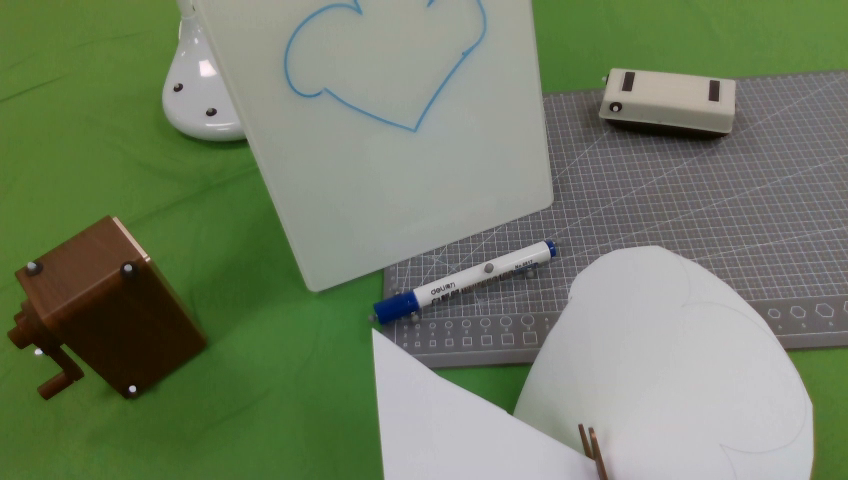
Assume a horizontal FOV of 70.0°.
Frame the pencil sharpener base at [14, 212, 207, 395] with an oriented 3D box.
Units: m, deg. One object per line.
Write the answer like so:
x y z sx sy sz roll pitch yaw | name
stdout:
-0.212 0.047 0.417 0.076 0.108 0.061 -38 57 -22 | pencil sharpener base

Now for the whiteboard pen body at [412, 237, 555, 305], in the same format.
0.034 0.027 0.456 0.141 0.017 0.017 -20 51 -9 | whiteboard pen body

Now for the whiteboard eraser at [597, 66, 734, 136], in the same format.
0.218 -0.125 0.549 0.112 0.042 0.055 11 54 15 | whiteboard eraser

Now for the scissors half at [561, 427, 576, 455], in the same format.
0.091 0.168 0.260 0.013 0.040 0.174 -21 71 13 | scissors half

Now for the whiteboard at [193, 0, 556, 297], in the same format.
-0.041 -0.149 0.468 0.217 0.308 0.142 -20 32 -9 | whiteboard

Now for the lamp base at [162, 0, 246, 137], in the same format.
-0.211 -0.219 0.586 0.177 0.182 0.160 30 60 30 | lamp base

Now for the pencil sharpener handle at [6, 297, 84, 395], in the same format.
-0.248 0.070 0.386 0.030 0.068 0.035 -38 44 -22 | pencil sharpener handle

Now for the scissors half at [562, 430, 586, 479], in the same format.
0.097 0.168 0.281 0.013 0.175 0.040 -21 4 18 | scissors half

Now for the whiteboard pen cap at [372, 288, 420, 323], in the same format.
-0.021 0.048 0.447 0.033 0.018 0.018 -21 51 -9 | whiteboard pen cap
